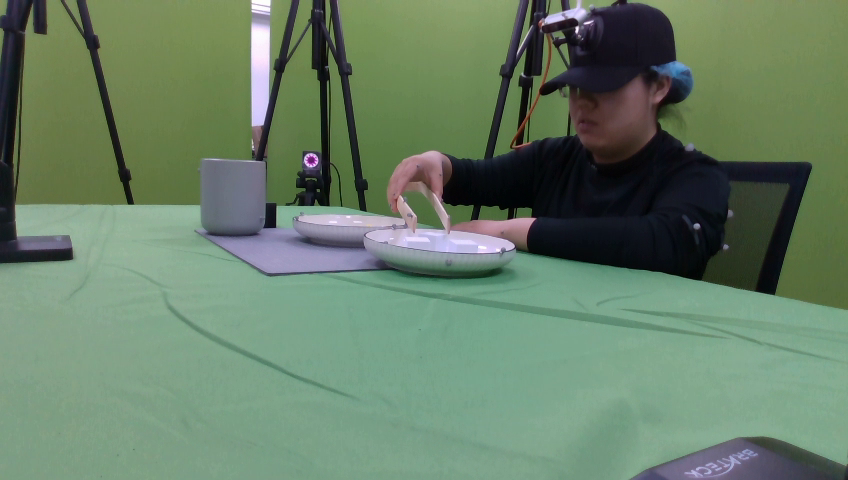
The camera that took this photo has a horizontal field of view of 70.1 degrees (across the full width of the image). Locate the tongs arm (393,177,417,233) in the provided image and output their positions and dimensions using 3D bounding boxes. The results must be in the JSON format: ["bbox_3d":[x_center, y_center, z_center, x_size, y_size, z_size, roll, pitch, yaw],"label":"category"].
[{"bbox_3d":[-0.022,-0.067,1.015,0.051,0.026,0.383,-3,14,-9],"label":"tongs arm"}]

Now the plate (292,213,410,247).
[{"bbox_3d":[-0.118,-0.017,1.024,0.208,0.039,0.207,3,7,0],"label":"plate"}]

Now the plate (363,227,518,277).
[{"bbox_3d":[0.021,0.016,0.817,0.209,0.038,0.209,4,9,0],"label":"plate"}]

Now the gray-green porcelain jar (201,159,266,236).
[{"bbox_3d":[-0.326,-0.073,1.036,0.106,0.126,0.106,3,8,0],"label":"gray-green porcelain jar"}]

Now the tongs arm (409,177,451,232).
[{"bbox_3d":[0.008,-0.067,1.019,0.028,0.028,0.386,-6,14,-6],"label":"tongs arm"}]
